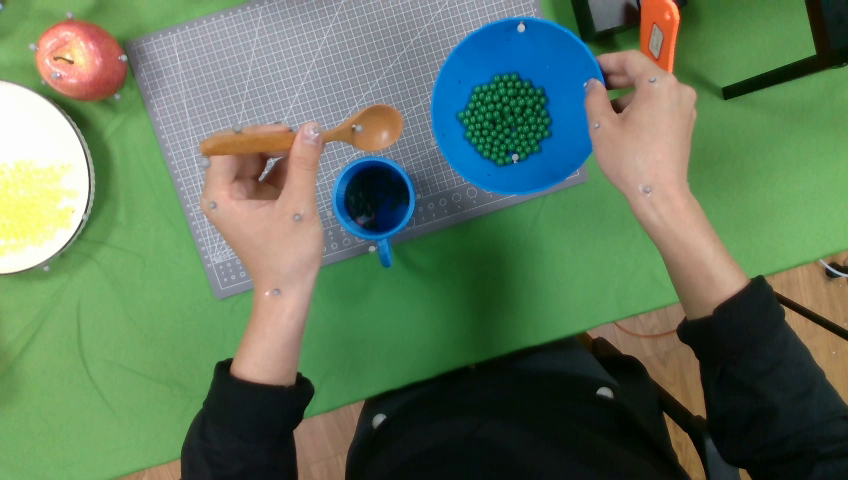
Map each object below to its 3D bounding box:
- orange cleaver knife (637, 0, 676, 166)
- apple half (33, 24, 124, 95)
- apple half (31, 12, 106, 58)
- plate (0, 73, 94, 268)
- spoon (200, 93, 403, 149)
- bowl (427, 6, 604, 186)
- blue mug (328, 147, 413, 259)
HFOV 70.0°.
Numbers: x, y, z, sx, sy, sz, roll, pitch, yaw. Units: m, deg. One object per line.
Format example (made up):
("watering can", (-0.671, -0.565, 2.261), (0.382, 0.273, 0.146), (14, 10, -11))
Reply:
("orange cleaver knife", (0.249, -0.180, 0.654), (0.012, 0.076, 0.213), (-19, 127, -1))
("apple half", (-0.350, -0.180, 0.631), (0.081, 0.074, 0.053), (-33, 100, -3))
("apple half", (-0.371, -0.213, 0.625), (0.081, 0.081, 0.033), (-32, 101, 1))
("plate", (-0.460, -0.074, 0.653), (0.209, 0.038, 0.209), (0, 96, -2))
("spoon", (-0.076, -0.083, 0.436), (0.021, 0.194, 0.042), (31, 118, 21))
("bowl", (0.083, -0.124, 0.551), (0.151, 0.077, 0.151), (1, 96, 11))
("blue mug", (-0.051, -0.037, 0.642), (0.082, 0.105, 0.116), (-10, 96, -2))
